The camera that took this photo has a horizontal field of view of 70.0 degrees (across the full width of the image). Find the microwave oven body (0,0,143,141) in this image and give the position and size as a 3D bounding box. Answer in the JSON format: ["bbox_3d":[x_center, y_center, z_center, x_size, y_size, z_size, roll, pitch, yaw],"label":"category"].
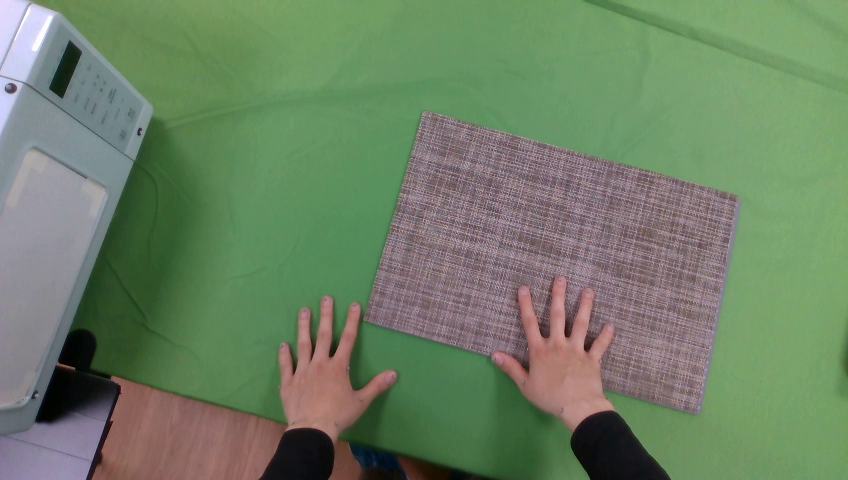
[{"bbox_3d":[-0.568,-0.050,0.659,0.326,0.260,0.440,16,81,0],"label":"microwave oven body"}]

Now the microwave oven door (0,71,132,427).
[{"bbox_3d":[-0.439,0.030,0.648,0.039,0.244,0.354,16,81,1],"label":"microwave oven door"}]

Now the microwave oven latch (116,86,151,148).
[{"bbox_3d":[-0.380,-0.161,0.781,0.030,0.029,0.079,18,82,0],"label":"microwave oven latch"}]

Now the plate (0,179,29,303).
[{"bbox_3d":[-0.567,0.006,0.708,0.209,0.038,0.208,1,83,-4],"label":"plate"}]
